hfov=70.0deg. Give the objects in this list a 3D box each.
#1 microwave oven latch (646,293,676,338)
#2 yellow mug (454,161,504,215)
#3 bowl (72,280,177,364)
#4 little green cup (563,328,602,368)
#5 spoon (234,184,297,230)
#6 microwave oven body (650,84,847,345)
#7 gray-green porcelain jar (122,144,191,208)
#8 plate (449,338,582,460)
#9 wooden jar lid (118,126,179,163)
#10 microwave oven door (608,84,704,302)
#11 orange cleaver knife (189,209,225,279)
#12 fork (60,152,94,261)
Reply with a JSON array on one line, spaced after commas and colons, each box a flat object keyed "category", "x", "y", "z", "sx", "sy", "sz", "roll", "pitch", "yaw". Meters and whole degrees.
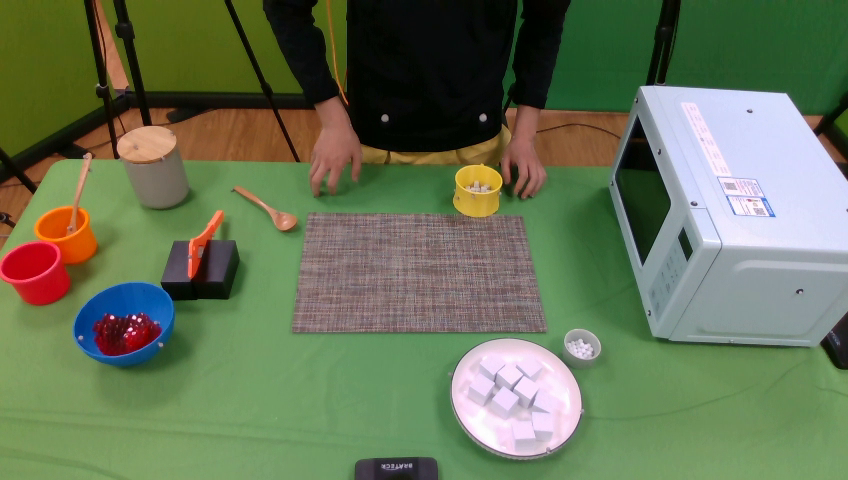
[{"category": "microwave oven latch", "x": 0.412, "y": 0.133, "z": 1.060, "sx": 0.030, "sy": 0.029, "sz": 0.078, "roll": 3, "pitch": 46, "yaw": 0}, {"category": "yellow mug", "x": 0.118, "y": -0.118, "z": 1.283, "sx": 0.100, "sy": 0.064, "sz": 0.130, "roll": 8, "pitch": 43, "yaw": 6}, {"category": "bowl", "x": -0.473, "y": 0.147, "z": 0.982, "sx": 0.151, "sy": 0.077, "sz": 0.150, "roll": 2, "pitch": 46, "yaw": -2}, {"category": "little green cup", "x": 0.265, "y": 0.184, "z": 1.025, "sx": 0.061, "sy": 0.039, "sz": 0.061, "roll": 1, "pitch": 46, "yaw": -1}, {"category": "spoon", "x": -0.327, "y": -0.073, "z": 1.239, "sx": 0.193, "sy": 0.022, "sz": 0.041, "roll": 34, "pitch": 71, "yaw": 25}, {"category": "microwave oven body", "x": 0.569, "y": -0.054, "z": 1.116, "sx": 0.326, "sy": 0.261, "sz": 0.439, "roll": 2, "pitch": 46, "yaw": -1}, {"category": "gray-green porcelain jar", "x": -0.531, "y": -0.137, "z": 1.213, "sx": 0.106, "sy": 0.127, "sz": 0.105, "roll": 2, "pitch": 46, "yaw": -2}, {"category": "plate", "x": 0.141, "y": 0.251, "z": 0.956, "sx": 0.208, "sy": 0.039, "sz": 0.206, "roll": 2, "pitch": 46, "yaw": -2}, {"category": "wooden jar lid", "x": -0.528, "y": -0.181, "z": 1.167, "sx": 0.108, "sy": 0.021, "sz": 0.107, "roll": 3, "pitch": 47, "yaw": -4}, {"category": "microwave oven door", "x": 0.424, "y": -0.096, "z": 1.138, "sx": 0.039, "sy": 0.245, "sz": 0.353, "roll": 3, "pitch": 46, "yaw": -1}, {"category": "orange cleaver knife", "x": -0.400, "y": 0.002, "z": 1.122, "sx": 0.012, "sy": 0.077, "sz": 0.210, "roll": 4, "pitch": 23, "yaw": -4}, {"category": "fork", "x": -0.638, "y": -0.063, "z": 1.119, "sx": 0.028, "sy": 0.018, "sz": 0.207, "roll": 12, "pitch": 90, "yaw": 7}]
